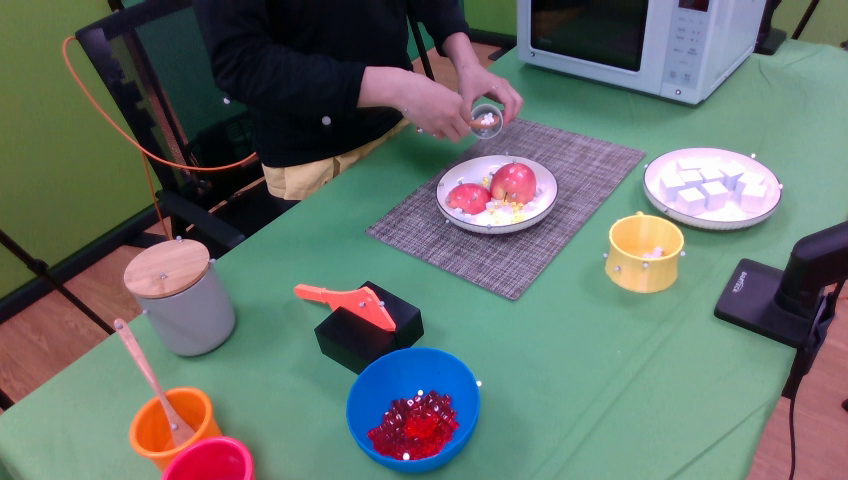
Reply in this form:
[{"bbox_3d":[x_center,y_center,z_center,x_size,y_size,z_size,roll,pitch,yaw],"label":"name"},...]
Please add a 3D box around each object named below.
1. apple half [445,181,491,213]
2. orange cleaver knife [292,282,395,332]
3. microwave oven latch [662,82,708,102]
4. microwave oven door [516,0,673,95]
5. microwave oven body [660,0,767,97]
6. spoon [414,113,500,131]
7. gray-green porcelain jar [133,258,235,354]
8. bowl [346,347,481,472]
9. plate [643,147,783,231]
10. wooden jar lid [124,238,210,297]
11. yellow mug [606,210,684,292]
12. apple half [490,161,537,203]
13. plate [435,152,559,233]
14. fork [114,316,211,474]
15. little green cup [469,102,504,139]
[{"bbox_3d":[0.076,-0.083,1.029,0.081,0.033,0.081,-2,42,2],"label":"apple half"},{"bbox_3d":[-0.116,0.091,0.835,0.209,0.077,0.012,2,32,48],"label":"orange cleaver knife"},{"bbox_3d":[0.518,-0.298,1.202,0.078,0.029,0.030,28,53,35],"label":"microwave oven latch"},{"bbox_3d":[0.344,-0.458,1.257,0.353,0.245,0.039,26,52,33],"label":"microwave oven door"},{"bbox_3d":[0.474,-0.516,1.313,0.438,0.261,0.327,26,51,34],"label":"microwave oven body"},{"bbox_3d":[0.055,-0.195,0.995,0.195,0.021,0.041,-13,31,-42],"label":"spoon"},{"bbox_3d":[-0.328,0.086,0.836,0.106,0.127,0.105,-4,41,4],"label":"gray-green porcelain jar"},{"bbox_3d":[-0.008,0.205,0.691,0.151,0.077,0.150,-4,40,4],"label":"bowl"},{"bbox_3d":[0.464,-0.080,0.986,0.207,0.039,0.206,-4,41,4],"label":"plate"},{"bbox_3d":[-0.335,0.038,0.794,0.108,0.021,0.108,-2,40,2],"label":"wooden jar lid"},{"bbox_3d":[0.318,0.007,0.883,0.100,0.064,0.130,0,41,8],"label":"yellow mug"},{"bbox_3d":[0.154,-0.106,1.030,0.080,0.053,0.075,22,46,31],"label":"apple half"},{"bbox_3d":[0.124,-0.078,1.026,0.209,0.038,0.208,-4,40,4],"label":"plate"},{"bbox_3d":[-0.309,0.179,0.708,0.028,0.018,0.207,-30,89,-23],"label":"fork"},{"bbox_3d":[0.110,-0.210,1.072,0.061,0.039,0.061,0,85,4],"label":"little green cup"}]
